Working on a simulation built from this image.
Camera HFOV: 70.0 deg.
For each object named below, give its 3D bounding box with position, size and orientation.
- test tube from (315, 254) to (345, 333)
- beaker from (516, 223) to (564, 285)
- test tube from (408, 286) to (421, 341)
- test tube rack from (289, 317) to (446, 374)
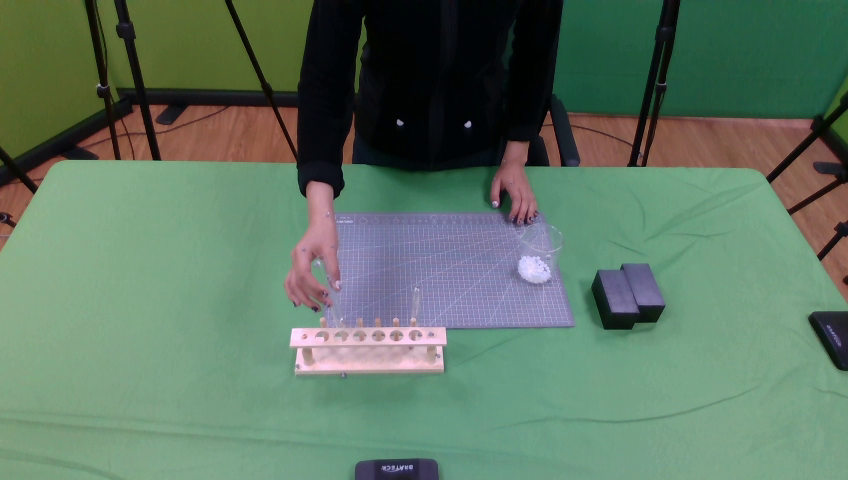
[{"bbox_3d":[-0.138,0.083,0.898,0.017,0.151,0.017,-5,37,4],"label":"test tube"},{"bbox_3d":[0.211,0.029,1.131,0.084,0.101,0.073,-1,46,-4],"label":"beaker"},{"bbox_3d":[-0.016,0.124,0.973,0.017,0.151,0.017,3,46,-2],"label":"test tube"},{"bbox_3d":[-0.089,0.167,0.987,0.242,0.085,0.066,0,46,-4],"label":"test tube rack"}]
